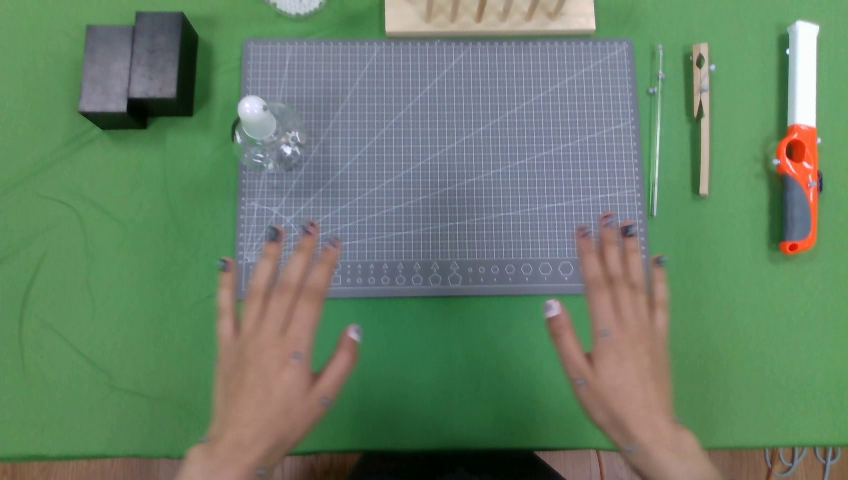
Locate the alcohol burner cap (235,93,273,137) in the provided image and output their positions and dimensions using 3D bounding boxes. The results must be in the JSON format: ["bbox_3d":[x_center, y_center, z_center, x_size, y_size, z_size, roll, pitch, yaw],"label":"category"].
[{"bbox_3d":[-0.165,-0.123,0.583,0.034,0.048,0.033,1,76,-5],"label":"alcohol burner cap"}]

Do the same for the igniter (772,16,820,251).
[{"bbox_3d":[0.421,-0.121,0.685,0.057,0.025,0.275,9,80,-10],"label":"igniter"}]

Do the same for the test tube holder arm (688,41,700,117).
[{"bbox_3d":[0.312,-0.185,0.698,0.010,0.015,0.087,-5,79,35],"label":"test tube holder arm"}]

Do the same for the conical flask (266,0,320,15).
[{"bbox_3d":[-0.150,-0.305,0.650,0.075,0.122,0.075,0,80,-2],"label":"conical flask"}]

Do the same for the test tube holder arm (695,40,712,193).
[{"bbox_3d":[0.316,-0.141,0.688,0.013,0.015,0.177,-7,78,34],"label":"test tube holder arm"}]

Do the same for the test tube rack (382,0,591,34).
[{"bbox_3d":[0.073,-0.282,0.672,0.242,0.085,0.066,-2,80,-2],"label":"test tube rack"}]

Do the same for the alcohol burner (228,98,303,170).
[{"bbox_3d":[-0.166,-0.115,0.618,0.078,0.119,0.077,0,79,1],"label":"alcohol burner"}]

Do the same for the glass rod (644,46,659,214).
[{"bbox_3d":[0.259,-0.127,0.690,0.008,0.008,0.199,6,83,-1],"label":"glass rod"}]
